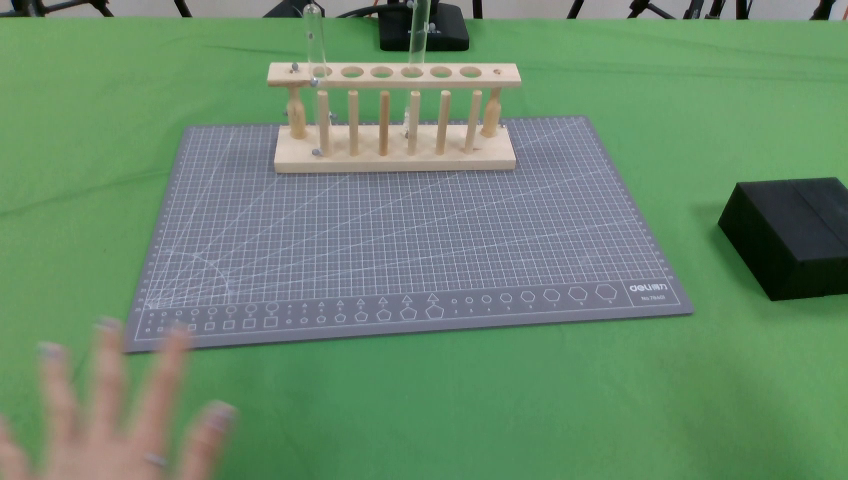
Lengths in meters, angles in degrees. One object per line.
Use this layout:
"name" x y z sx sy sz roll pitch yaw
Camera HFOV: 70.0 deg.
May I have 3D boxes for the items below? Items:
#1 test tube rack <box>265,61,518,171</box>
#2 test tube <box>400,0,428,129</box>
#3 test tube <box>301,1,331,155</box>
"test tube rack" -0.030 -0.125 0.607 0.243 0.086 0.066 -2 45 -5
"test tube" -0.010 -0.173 0.586 0.017 0.151 0.017 4 42 -4
"test tube" -0.099 -0.143 0.557 0.017 0.152 0.017 2 43 -1
